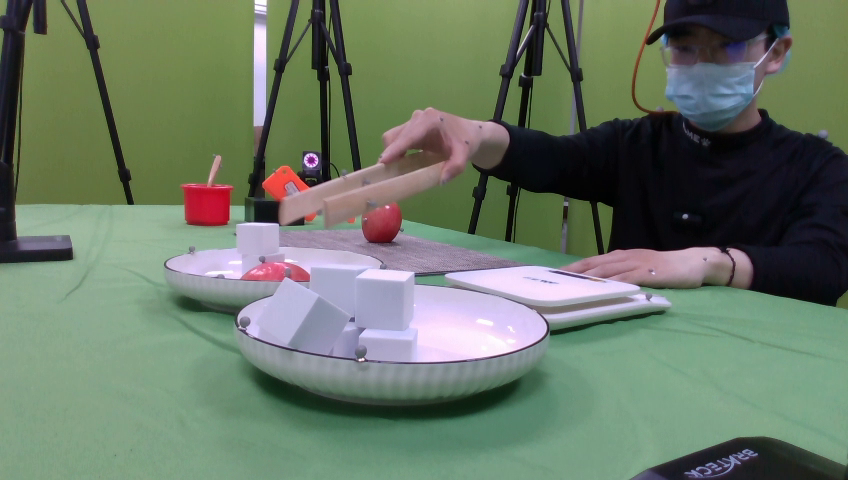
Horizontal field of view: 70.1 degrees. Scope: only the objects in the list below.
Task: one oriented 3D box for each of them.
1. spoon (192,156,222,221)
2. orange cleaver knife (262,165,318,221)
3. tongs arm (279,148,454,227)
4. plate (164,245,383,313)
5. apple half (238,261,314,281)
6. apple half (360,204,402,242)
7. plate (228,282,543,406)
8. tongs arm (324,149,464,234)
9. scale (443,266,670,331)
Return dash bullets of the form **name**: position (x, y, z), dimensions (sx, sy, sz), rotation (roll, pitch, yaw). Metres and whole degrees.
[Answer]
- **spoon**: position (-0.430, -0.108, 1.222), dimensions (0.041, 0.021, 0.193), rotation (-1, 52, 0)
- **orange cleaver knife**: position (-0.243, -0.081, 1.292), dimensions (0.212, 0.077, 0.012), rotation (34, -8, -26)
- **tongs arm**: position (-0.041, -0.069, 0.684), dimensions (0.050, 0.026, 0.385), rotation (8, 17, 16)
- **plate**: position (-0.145, 0.038, 0.600), dimensions (0.209, 0.038, 0.209), rotation (2, 8, 0)
- **apple half**: position (-0.141, 0.035, 0.578), dimensions (0.081, 0.033, 0.081), rotation (2, 11, 0)
- **apple half**: position (-0.066, -0.032, 1.014), dimensions (0.053, 0.074, 0.081), rotation (9, 6, 21)
- **plate**: position (-0.025, 0.067, 0.413), dimensions (0.208, 0.039, 0.207), rotation (3, 7, 0)
- **tongs arm**: position (-0.015, -0.065, 0.675), dimensions (0.028, 0.028, 0.388), rotation (5, 16, 20)
- **scale**: position (0.131, 0.052, 0.603), dimensions (0.202, 0.031, 0.148), rotation (-2, 9, -37)
